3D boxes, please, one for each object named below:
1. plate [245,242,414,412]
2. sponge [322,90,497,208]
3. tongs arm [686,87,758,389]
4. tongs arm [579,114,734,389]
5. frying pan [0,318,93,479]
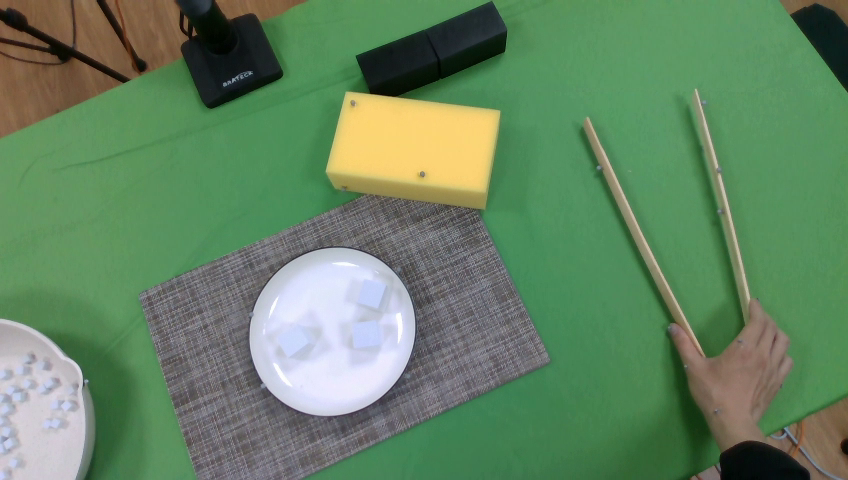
[{"bbox_3d":[-0.114,0.106,0.751,0.207,0.039,0.206,-1,75,3],"label":"plate"},{"bbox_3d":[-0.016,-0.120,0.794,0.206,0.061,0.117,8,74,7],"label":"sponge"},{"bbox_3d":[0.359,-0.011,0.760,0.051,0.026,0.382,-9,76,2],"label":"tongs arm"},{"bbox_3d":[0.282,0.008,0.764,0.028,0.028,0.385,-21,76,-4],"label":"tongs arm"},{"bbox_3d":[-0.479,0.319,0.686,0.307,0.103,0.483,-32,67,-5],"label":"frying pan"}]
